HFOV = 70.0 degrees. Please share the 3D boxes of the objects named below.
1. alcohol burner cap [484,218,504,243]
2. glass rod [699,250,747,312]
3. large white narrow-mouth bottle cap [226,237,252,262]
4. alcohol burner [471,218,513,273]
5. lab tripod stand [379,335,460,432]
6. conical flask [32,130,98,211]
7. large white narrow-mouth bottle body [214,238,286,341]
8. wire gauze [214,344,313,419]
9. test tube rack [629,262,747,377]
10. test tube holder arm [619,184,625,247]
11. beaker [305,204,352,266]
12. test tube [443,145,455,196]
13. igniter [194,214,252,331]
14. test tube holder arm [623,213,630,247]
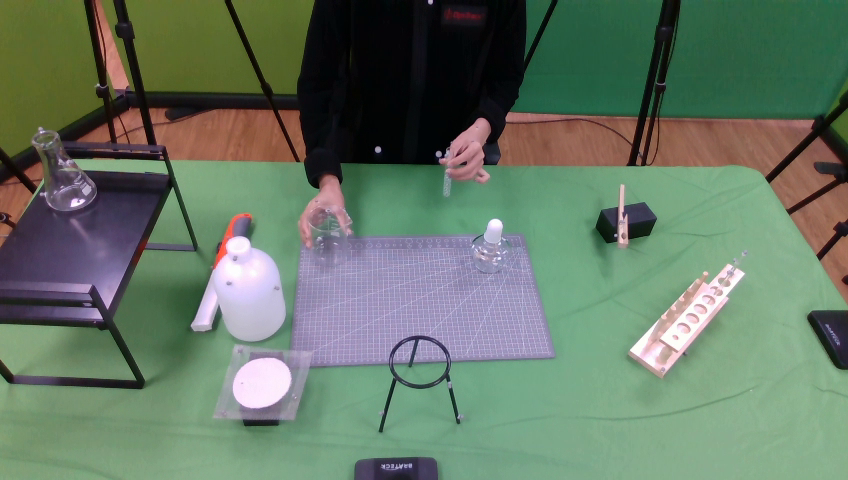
[{"bbox_3d":[0.130,-0.021,1.106,0.034,0.048,0.033,3,51,-4],"label":"alcohol burner cap"},{"bbox_3d":[0.500,0.075,1.021,0.008,0.201,0.008,0,55,1],"label":"glass rod"},{"bbox_3d":[-0.282,0.014,0.923,0.038,0.024,0.037,2,46,-2],"label":"large white narrow-mouth bottle cap"},{"bbox_3d":[0.128,0.005,1.132,0.078,0.120,0.077,0,47,0],"label":"alcohol burner"},{"bbox_3d":[-0.011,0.214,0.911,0.148,0.132,0.147,1,45,0],"label":"lab tripod stand"},{"bbox_3d":[-0.565,-0.110,0.944,0.075,0.122,0.075,2,46,-2],"label":"conical flask"},{"bbox_3d":[-0.285,0.073,0.986,0.102,0.195,0.101,2,46,-2],"label":"large white narrow-mouth bottle body"},{"bbox_3d":[-0.241,0.213,0.916,0.121,0.011,0.124,5,46,1],"label":"wire gauze"},{"bbox_3d":[0.464,0.126,1.060,0.242,0.085,0.066,-34,56,-31],"label":"test tube rack"},{"bbox_3d":[0.396,-0.053,1.210,0.013,0.015,0.177,14,46,2],"label":"test tube holder arm"},{"bbox_3d":[-0.176,-0.007,1.131,0.084,0.101,0.073,5,45,-1],"label":"beaker"},{"bbox_3d":[0.048,-0.130,1.167,0.017,0.151,0.017,1,60,-1],"label":"test tube"},{"bbox_3d":[-0.367,0.050,1.119,0.057,0.025,0.275,-4,46,7],"label":"igniter"},{"bbox_3d":[0.393,-0.020,1.179,0.010,0.015,0.087,13,46,1],"label":"test tube holder arm"}]
